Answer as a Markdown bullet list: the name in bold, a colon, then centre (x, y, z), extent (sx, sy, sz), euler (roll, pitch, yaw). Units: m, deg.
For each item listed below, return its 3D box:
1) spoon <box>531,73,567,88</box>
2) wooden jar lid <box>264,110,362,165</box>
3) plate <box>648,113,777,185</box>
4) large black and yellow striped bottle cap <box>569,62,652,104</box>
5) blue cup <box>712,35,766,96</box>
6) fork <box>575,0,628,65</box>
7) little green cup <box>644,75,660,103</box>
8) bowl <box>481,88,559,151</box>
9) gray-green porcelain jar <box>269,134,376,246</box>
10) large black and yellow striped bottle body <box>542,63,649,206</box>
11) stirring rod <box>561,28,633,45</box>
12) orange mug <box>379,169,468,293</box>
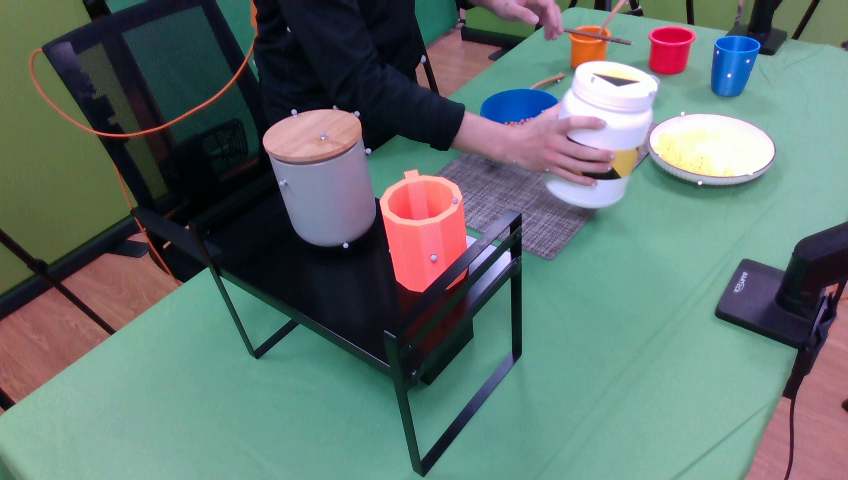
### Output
- **spoon**: centre (0.250, -0.337, 1.332), extent (0.194, 0.022, 0.041), euler (-32, 32, -25)
- **wooden jar lid**: centre (-0.122, -0.112, 0.673), extent (0.108, 0.021, 0.108), euler (-4, 37, 4)
- **plate**: centre (0.506, -0.158, 1.073), extent (0.209, 0.038, 0.208), euler (-5, 40, 4)
- **large black and yellow striped bottle cap**: centre (0.265, -0.225, 0.861), extent (0.115, 0.019, 0.114), euler (6, 37, -4)
- **blue cup**: centre (0.627, -0.350, 1.227), extent (0.092, 0.100, 0.092), euler (-4, 39, 4)
- **fork**: centre (0.413, -0.481, 1.377), extent (0.207, 0.019, 0.028), euler (-56, 43, 12)
- **little green cup**: centre (0.458, -0.314, 1.260), extent (0.061, 0.039, 0.061), euler (-4, 40, 4)
- **bowl**: centre (0.187, -0.223, 1.161), extent (0.151, 0.077, 0.150), euler (-4, 40, 4)
- **gray-green porcelain jar**: centre (-0.115, -0.064, 0.715), extent (0.106, 0.127, 0.105), euler (-4, 40, 4)
- **large black and yellow striped bottle body**: centre (0.258, -0.160, 0.913), extent (0.131, 0.184, 0.130), euler (5, 38, -3)
- **stirring rod**: centre (0.382, -0.453, 1.345), extent (0.174, 0.006, 0.014), euler (27, 53, 34)
- **orange mug**: centre (-0.002, -0.019, 0.665), extent (0.083, 0.101, 0.125), euler (-12, 45, -4)
